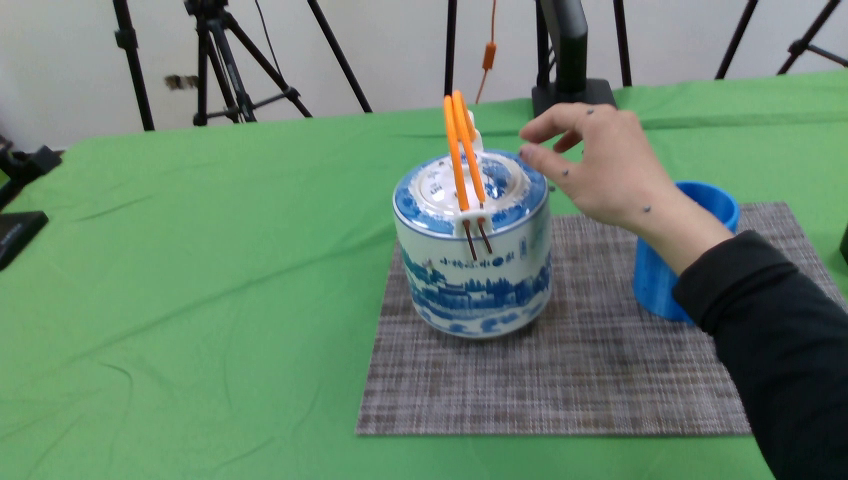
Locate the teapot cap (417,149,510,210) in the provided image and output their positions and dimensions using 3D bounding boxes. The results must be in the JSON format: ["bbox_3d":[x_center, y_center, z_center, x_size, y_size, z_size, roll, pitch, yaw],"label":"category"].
[{"bbox_3d":[0.035,-0.057,0.541,0.085,0.044,0.084,-3,37,3],"label":"teapot cap"}]

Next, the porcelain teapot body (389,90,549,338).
[{"bbox_3d":[0.041,-0.044,0.587,0.145,0.227,0.203,-8,38,3],"label":"porcelain teapot body"}]

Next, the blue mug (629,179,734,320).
[{"bbox_3d":[0.239,0.018,0.562,0.082,0.107,0.115,-3,39,9],"label":"blue mug"}]
